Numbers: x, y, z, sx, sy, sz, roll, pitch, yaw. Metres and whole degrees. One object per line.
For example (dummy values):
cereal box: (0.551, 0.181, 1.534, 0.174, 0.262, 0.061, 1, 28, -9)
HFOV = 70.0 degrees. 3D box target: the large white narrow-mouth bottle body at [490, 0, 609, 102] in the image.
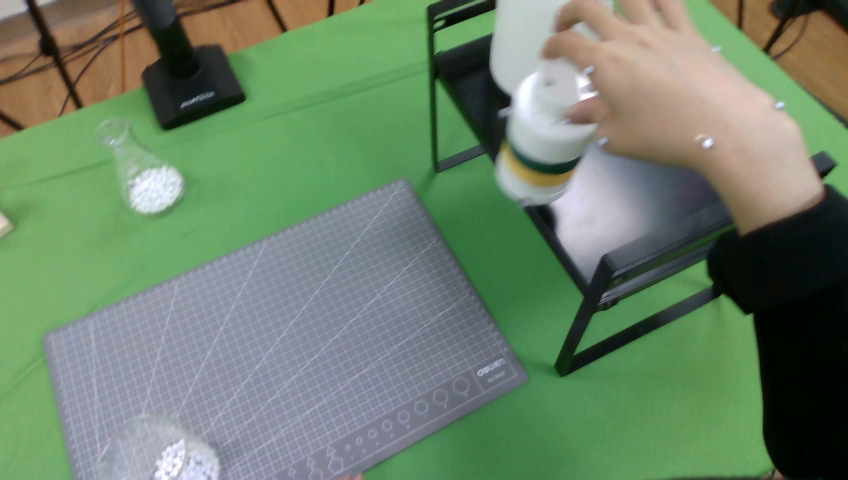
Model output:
large white narrow-mouth bottle body: (0.110, -0.214, 0.525, 0.102, 0.196, 0.101, -2, 60, 3)

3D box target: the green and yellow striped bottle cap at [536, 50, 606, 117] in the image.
green and yellow striped bottle cap: (0.099, -0.105, 0.408, 0.045, 0.020, 0.045, 1, 70, -3)

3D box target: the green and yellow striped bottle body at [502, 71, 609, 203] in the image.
green and yellow striped bottle body: (0.098, -0.082, 0.454, 0.063, 0.120, 0.062, 1, 66, -1)

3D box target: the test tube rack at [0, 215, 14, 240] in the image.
test tube rack: (-0.612, 0.028, 0.681, 0.066, 0.086, 0.242, 37, 68, 21)

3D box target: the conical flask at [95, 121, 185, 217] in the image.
conical flask: (-0.341, -0.087, 0.716, 0.075, 0.123, 0.074, -1, 60, 2)

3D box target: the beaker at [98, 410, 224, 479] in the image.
beaker: (-0.236, 0.207, 0.557, 0.084, 0.101, 0.073, -7, 60, -1)
